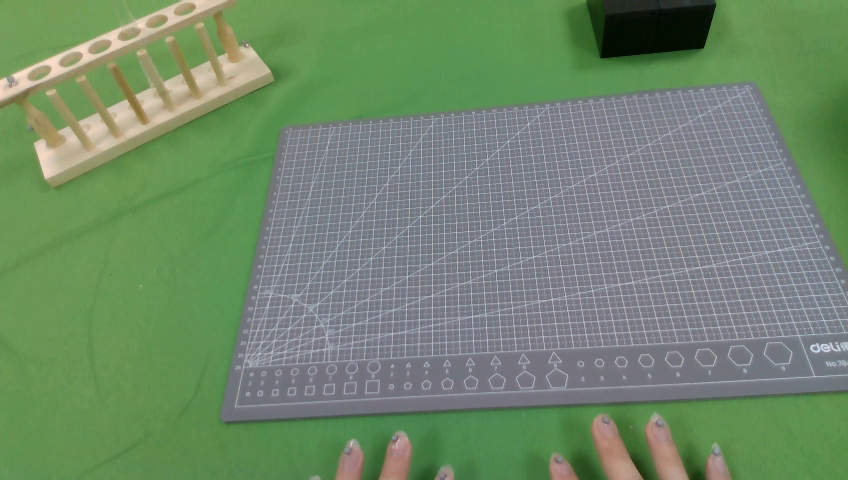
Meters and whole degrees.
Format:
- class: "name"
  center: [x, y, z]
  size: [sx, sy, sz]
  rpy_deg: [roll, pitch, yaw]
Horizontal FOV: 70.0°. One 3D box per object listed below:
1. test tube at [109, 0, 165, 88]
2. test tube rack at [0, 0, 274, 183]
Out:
- class: "test tube"
  center: [-0.282, -0.210, 0.577]
  size: [0.017, 0.151, 0.017]
  rpy_deg: [-3, 49, 3]
- class: "test tube rack"
  center: [-0.284, -0.160, 0.603]
  size: [0.242, 0.086, 0.066]
  rpy_deg: [-30, 56, -13]
